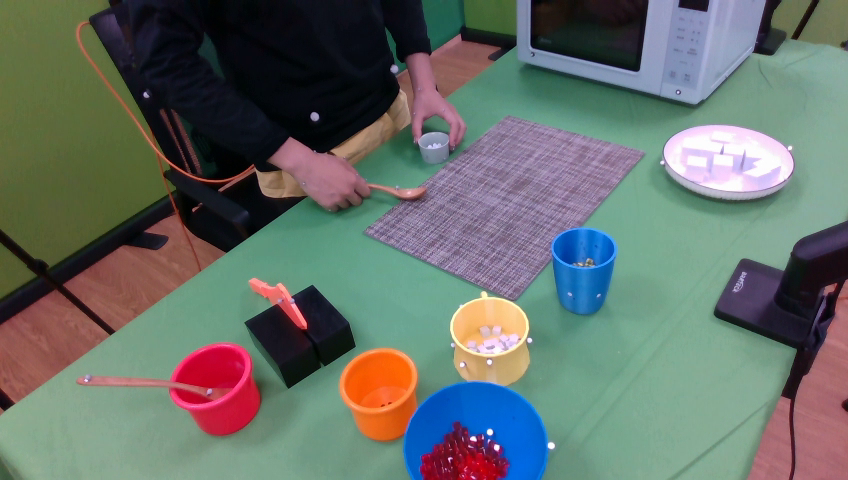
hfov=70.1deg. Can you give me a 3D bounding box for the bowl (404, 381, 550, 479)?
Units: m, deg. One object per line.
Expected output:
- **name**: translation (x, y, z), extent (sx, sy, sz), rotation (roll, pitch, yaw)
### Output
- **bowl**: translation (0.058, 0.235, 0.645), extent (0.151, 0.077, 0.150), rotation (-4, 39, 4)

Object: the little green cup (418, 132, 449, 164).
- **little green cup**: translation (0.020, -0.177, 1.168), extent (0.061, 0.039, 0.061), rotation (-3, 41, 3)

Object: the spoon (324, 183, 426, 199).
- **spoon**: translation (-0.089, -0.093, 1.088), extent (0.193, 0.022, 0.041), rotation (8, 32, 13)

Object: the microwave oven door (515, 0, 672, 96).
- **microwave oven door**: translation (0.343, -0.454, 1.259), extent (0.353, 0.245, 0.039), rotation (26, 51, 33)

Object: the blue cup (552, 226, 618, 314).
- **blue cup**: translation (0.217, 0.047, 0.825), extent (0.092, 0.100, 0.092), rotation (-6, 40, 5)

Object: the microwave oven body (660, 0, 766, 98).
- **microwave oven body**: translation (0.472, -0.513, 1.317), extent (0.438, 0.261, 0.327), rotation (26, 51, 34)

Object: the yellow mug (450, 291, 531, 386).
- **yellow mug**: translation (0.085, 0.120, 0.786), extent (0.100, 0.064, 0.130), rotation (-7, 39, 1)

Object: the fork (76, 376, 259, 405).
- **fork**: translation (-0.295, 0.176, 0.716), extent (0.209, 0.018, 0.028), rotation (19, 27, -37)

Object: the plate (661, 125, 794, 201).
- **plate**: translation (0.513, -0.128, 1.035), extent (0.207, 0.039, 0.206), rotation (-4, 40, 4)

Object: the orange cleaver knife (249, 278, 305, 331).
- **orange cleaver knife**: translation (-0.210, 0.088, 0.856), extent (0.012, 0.077, 0.210), rotation (-28, 15, -25)

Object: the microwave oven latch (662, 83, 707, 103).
- **microwave oven latch**: translation (0.517, -0.296, 1.204), extent (0.078, 0.029, 0.030), rotation (27, 52, 35)
